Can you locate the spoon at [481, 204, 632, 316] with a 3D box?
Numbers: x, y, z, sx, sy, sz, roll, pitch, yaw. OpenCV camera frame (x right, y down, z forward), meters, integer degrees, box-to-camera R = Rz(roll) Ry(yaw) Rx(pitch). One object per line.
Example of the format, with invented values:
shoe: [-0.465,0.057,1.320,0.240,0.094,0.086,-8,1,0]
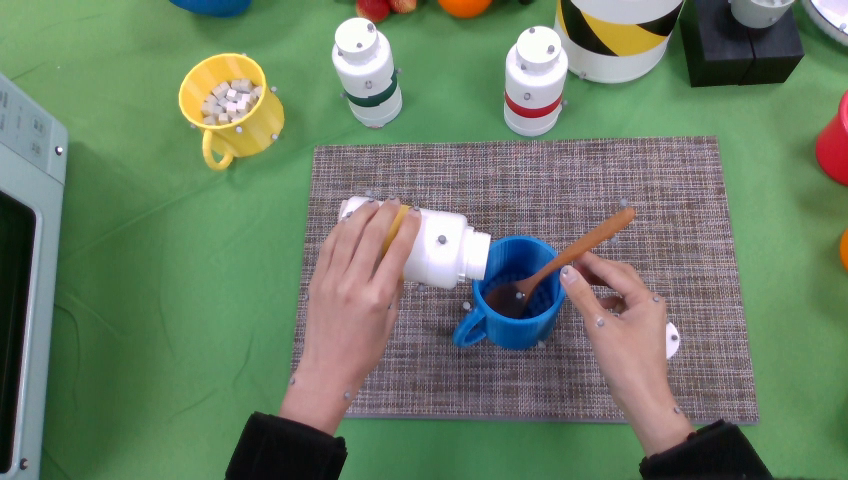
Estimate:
spoon: [0.107,0.025,0.528,0.022,0.194,0.041,-3,62,-34]

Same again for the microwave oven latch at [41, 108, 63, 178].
microwave oven latch: [-0.438,-0.110,0.698,0.030,0.030,0.078,-8,70,2]

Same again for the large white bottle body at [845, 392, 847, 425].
large white bottle body: [0.437,0.134,0.462,0.130,0.186,0.129,-2,69,5]

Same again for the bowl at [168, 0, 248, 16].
bowl: [-0.268,-0.340,0.765,0.151,0.077,0.150,-2,70,5]

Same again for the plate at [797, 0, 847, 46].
plate: [0.525,-0.292,0.691,0.209,0.038,0.207,-2,70,5]

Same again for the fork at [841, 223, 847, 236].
fork: [0.466,0.017,0.522,0.028,0.019,0.205,-37,26,-8]

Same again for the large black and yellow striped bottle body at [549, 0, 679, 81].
large black and yellow striped bottle body: [0.204,-0.272,0.636,0.130,0.185,0.130,-2,69,5]

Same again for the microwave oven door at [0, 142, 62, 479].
microwave oven door: [-0.420,0.057,0.526,0.039,0.245,0.353,-10,69,3]

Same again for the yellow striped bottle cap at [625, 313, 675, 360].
yellow striped bottle cap: [0.219,0.093,0.587,0.044,0.019,0.044,-2,69,6]

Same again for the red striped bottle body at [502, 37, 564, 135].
red striped bottle body: [0.114,-0.169,0.642,0.063,0.120,0.062,-3,68,7]

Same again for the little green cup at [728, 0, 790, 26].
little green cup: [0.355,-0.260,0.641,0.061,0.039,0.061,-1,68,3]

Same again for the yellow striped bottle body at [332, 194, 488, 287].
yellow striped bottle body: [-0.009,0.002,0.496,0.120,0.063,0.062,10,71,5]

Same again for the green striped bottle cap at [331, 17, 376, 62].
green striped bottle cap: [-0.072,-0.205,0.618,0.044,0.020,0.044,-2,68,5]

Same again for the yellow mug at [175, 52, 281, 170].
yellow mug: [-0.227,-0.142,0.694,0.100,0.064,0.130,9,71,9]

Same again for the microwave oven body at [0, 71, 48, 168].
microwave oven body: [-0.570,0.043,0.551,0.326,0.262,0.438,-9,70,2]

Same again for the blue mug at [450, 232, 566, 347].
blue mug: [0.072,0.059,0.565,0.116,0.106,0.081,-36,70,-8]

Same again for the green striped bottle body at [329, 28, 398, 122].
green striped bottle body: [-0.066,-0.187,0.666,0.063,0.120,0.062,-2,69,5]

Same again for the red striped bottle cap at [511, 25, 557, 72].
red striped bottle cap: [0.108,-0.188,0.593,0.044,0.018,0.044,-1,68,2]
